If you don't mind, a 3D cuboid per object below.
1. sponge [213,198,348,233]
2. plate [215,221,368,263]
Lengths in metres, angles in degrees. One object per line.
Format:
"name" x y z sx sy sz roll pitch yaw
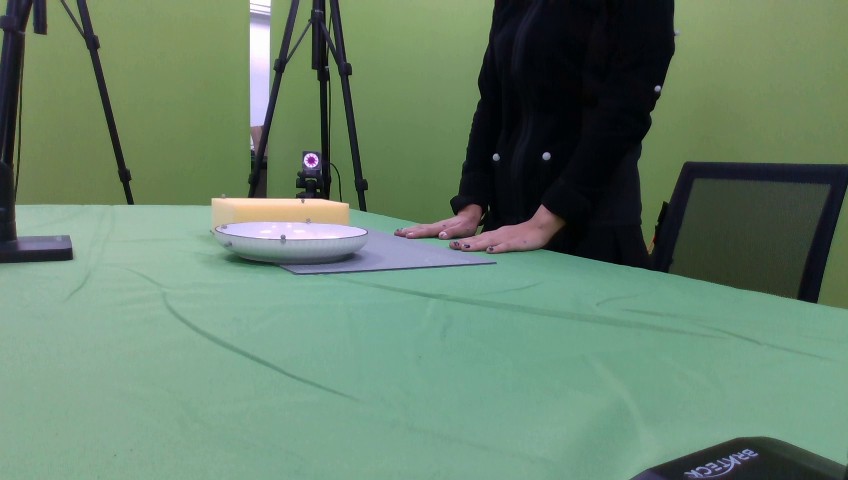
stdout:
"sponge" -0.251 -0.039 1.059 0.208 0.061 0.117 -3 9 -36
"plate" -0.182 0.002 0.846 0.209 0.038 0.209 2 7 0
